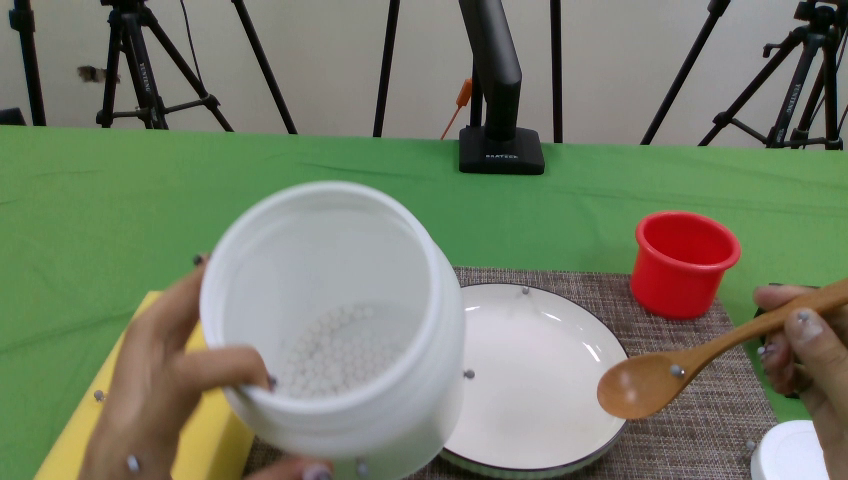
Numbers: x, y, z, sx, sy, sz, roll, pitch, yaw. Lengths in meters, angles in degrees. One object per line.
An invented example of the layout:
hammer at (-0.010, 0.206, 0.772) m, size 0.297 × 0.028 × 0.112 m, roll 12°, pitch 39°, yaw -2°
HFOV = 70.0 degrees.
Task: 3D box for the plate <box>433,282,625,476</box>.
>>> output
plate at (0.070, 0.116, 0.524) m, size 0.209 × 0.038 × 0.207 m, roll 1°, pitch 36°, yaw -1°

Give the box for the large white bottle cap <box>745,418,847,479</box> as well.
large white bottle cap at (0.305, 0.186, 0.457) m, size 0.115 × 0.018 × 0.113 m, roll 3°, pitch 37°, yaw -2°

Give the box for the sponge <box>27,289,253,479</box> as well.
sponge at (-0.198, 0.128, 0.484) m, size 0.118 × 0.061 × 0.205 m, roll 0°, pitch 36°, yaw 2°

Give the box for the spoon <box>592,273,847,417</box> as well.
spoon at (0.169, 0.052, 0.327) m, size 0.022 × 0.194 × 0.041 m, roll 29°, pitch 45°, yaw -20°

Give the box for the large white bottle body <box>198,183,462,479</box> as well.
large white bottle body at (-0.043, 0.061, 0.349) m, size 0.130 × 0.186 × 0.129 m, roll -1°, pitch 63°, yaw 2°
